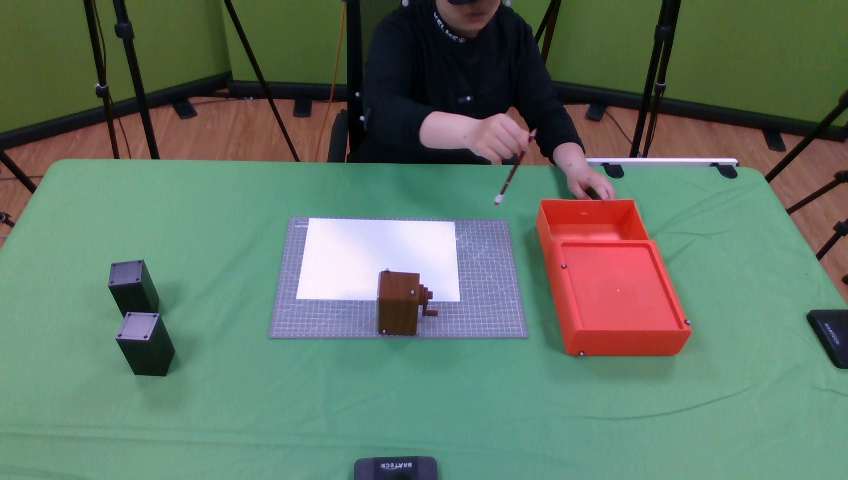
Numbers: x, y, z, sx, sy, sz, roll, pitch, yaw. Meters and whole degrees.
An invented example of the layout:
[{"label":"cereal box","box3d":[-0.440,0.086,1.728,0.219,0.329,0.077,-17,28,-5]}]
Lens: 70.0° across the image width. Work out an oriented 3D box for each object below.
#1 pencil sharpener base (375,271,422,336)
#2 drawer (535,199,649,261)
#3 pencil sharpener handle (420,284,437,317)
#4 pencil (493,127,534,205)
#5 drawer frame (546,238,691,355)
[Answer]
[{"label":"pencil sharpener base","box3d":[-0.043,0.109,1.025,0.077,0.107,0.061,3,45,-2]},{"label":"drawer","box3d":[0.332,0.015,1.170,0.195,0.073,0.210,1,46,-5]},{"label":"pencil sharpener handle","box3d":[0.009,0.104,1.017,0.030,0.068,0.036,3,39,-2]},{"label":"pencil","box3d":[0.160,-0.129,1.085,0.012,0.195,0.012,9,49,-11]},{"label":"drawer frame","box3d":[0.338,0.097,1.086,0.202,0.083,0.212,0,46,-4]}]
